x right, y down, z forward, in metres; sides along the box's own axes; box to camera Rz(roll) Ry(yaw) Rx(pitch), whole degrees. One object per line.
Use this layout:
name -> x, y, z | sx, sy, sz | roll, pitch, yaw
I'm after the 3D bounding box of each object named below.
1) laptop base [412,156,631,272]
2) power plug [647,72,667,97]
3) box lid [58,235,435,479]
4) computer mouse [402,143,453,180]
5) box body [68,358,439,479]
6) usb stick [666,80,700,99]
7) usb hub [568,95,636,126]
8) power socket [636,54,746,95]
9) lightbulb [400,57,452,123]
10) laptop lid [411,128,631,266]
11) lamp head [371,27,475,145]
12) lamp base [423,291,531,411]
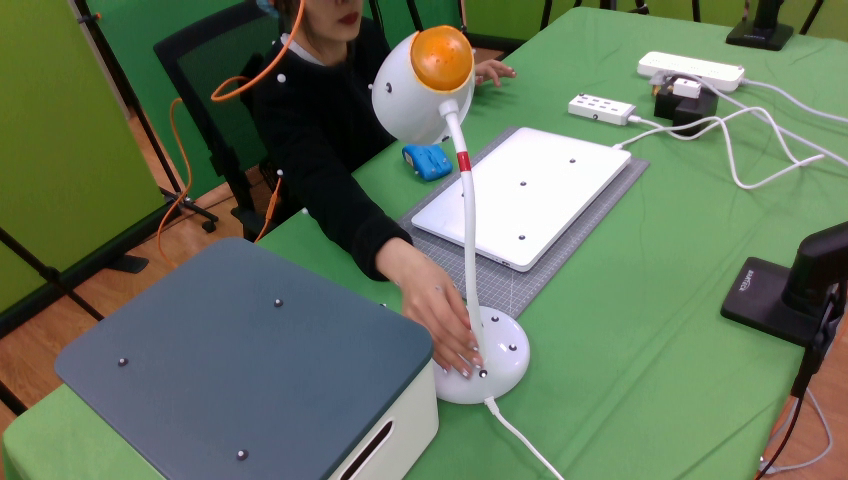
laptop base -> 0.176, -0.083, 1.055 | 0.233, 0.023, 0.355 | 21, 48, 36
power plug -> 0.494, -0.321, 1.261 | 0.073, 0.052, 0.035 | 0, 21, -41
box lid -> -0.198, 0.123, 0.653 | 0.368, 0.015, 0.264 | 22, 49, 32
computer mouse -> 0.006, -0.159, 1.165 | 0.063, 0.041, 0.116 | -21, 45, -17
box body -> -0.189, 0.178, 0.702 | 0.361, 0.161, 0.255 | 22, 49, 32
usb stick -> 0.492, -0.288, 1.152 | 0.058, 0.027, 0.021 | 20, 51, 34
usb hub -> 0.360, -0.264, 1.228 | 0.124, 0.025, 0.049 | 24, 49, 34
power socket -> 0.565, -0.357, 1.293 | 0.225, 0.033, 0.072 | 24, 51, 33
lightbulb -> 0.002, -0.169, 0.668 | 0.059, 0.108, 0.059 | 0, 79, 0
laptop lid -> 0.173, -0.093, 1.049 | 0.239, 0.013, 0.358 | 24, 49, 36
lamp head -> 0.007, -0.167, 0.644 | 0.113, 0.112, 0.122 | -22, 2, -14
lamp base -> 0.055, 0.095, 0.740 | 0.161, 0.181, 0.177 | -19, 43, -11
